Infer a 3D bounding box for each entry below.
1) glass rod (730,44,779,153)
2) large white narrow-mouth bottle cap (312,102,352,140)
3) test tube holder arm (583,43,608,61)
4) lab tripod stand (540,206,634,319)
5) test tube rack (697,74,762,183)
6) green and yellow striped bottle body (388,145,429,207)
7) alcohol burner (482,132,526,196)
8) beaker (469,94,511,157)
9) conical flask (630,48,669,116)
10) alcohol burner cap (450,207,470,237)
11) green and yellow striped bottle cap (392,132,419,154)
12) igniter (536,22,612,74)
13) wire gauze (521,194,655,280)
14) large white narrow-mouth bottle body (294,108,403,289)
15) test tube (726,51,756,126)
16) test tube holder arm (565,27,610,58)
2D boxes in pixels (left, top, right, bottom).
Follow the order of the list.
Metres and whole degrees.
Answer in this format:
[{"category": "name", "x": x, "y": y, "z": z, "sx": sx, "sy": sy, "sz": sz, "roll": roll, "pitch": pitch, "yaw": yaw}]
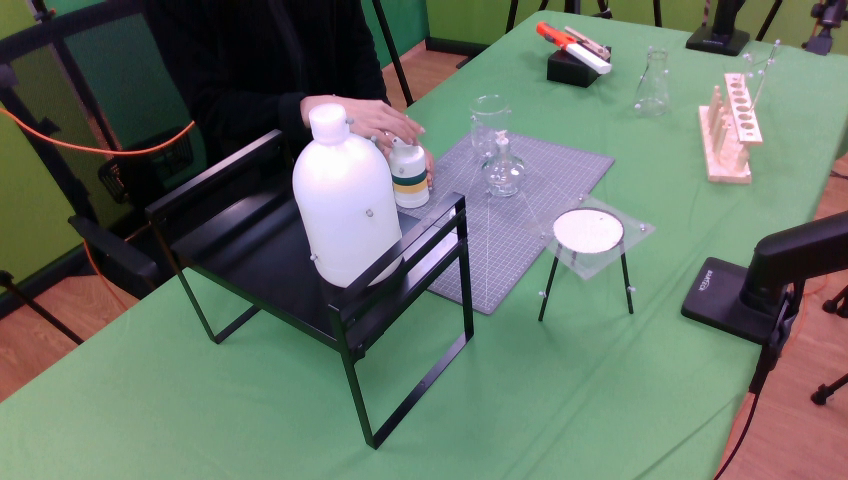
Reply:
[{"category": "glass rod", "x": 0.555, "y": -0.233, "z": 1.020, "sx": 0.008, "sy": 0.200, "sz": 0.008, "roll": 2, "pitch": 40, "yaw": -1}, {"category": "large white narrow-mouth bottle cap", "x": -0.088, "y": -0.114, "z": 0.579, "sx": 0.038, "sy": 0.024, "sz": 0.037, "roll": -3, "pitch": 39, "yaw": 3}, {"category": "test tube holder arm", "x": 0.379, "y": -0.420, "z": 1.341, "sx": 0.010, "sy": 0.015, "sz": 0.087, "roll": -39, "pitch": 41, "yaw": 10}, {"category": "lab tripod stand", "x": 0.218, "y": 0.034, "z": 0.821, "sx": 0.148, "sy": 0.132, "sz": 0.147, "roll": -4, "pitch": 42, "yaw": 4}, {"category": "test tube rack", "x": 0.547, "y": -0.208, "z": 1.095, "sx": 0.066, "sy": 0.085, "sz": 0.242, "roll": 5, "pitch": 42, "yaw": 15}, {"category": "green and yellow striped bottle body", "x": -0.027, "y": -0.121, "z": 1.041, "sx": 0.063, "sy": 0.120, "sz": 0.063, "roll": -4, "pitch": 41, "yaw": 4}, {"category": "alcohol burner", "x": 0.137, "y": -0.136, "z": 1.042, "sx": 0.078, "sy": 0.119, "sz": 0.077, "roll": -4, "pitch": 43, "yaw": 4}, {"category": "beaker", "x": 0.124, "y": -0.216, "z": 1.148, "sx": 0.074, "sy": 0.101, "sz": 0.083, "roll": -21, "pitch": 42, "yaw": -16}, {"category": "conical flask", "x": 0.456, "y": -0.317, "z": 1.205, "sx": 0.075, "sy": 0.122, "sz": 0.075, "roll": -4, "pitch": 41, "yaw": 4}, {"category": "alcohol burner cap", "x": 0.057, "y": -0.032, "z": 0.987, "sx": 0.034, "sy": 0.048, "sz": 0.033, "roll": -5, "pitch": 41, "yaw": 5}, {"category": "green and yellow striped bottle cap", "x": -0.031, "y": -0.161, "z": 1.009, "sx": 0.045, "sy": 0.020, "sz": 0.045, "roll": -5, "pitch": 42, "yaw": 5}, {"category": "igniter", "x": 0.330, "y": -0.439, "z": 1.366, "sx": 0.057, "sy": 0.025, "sz": 0.274, "roll": -11, "pitch": 41, "yaw": -20}, {"category": "wire gauze", "x": 0.207, "y": -0.012, "z": 0.772, "sx": 0.122, "sy": 0.011, "sz": 0.124, "roll": -28, "pitch": 44, "yaw": -20}, {"category": "large white narrow-mouth bottle body", "x": -0.082, "y": -0.047, "z": 0.634, "sx": 0.102, "sy": 0.195, "sz": 0.101, "roll": -4, "pitch": 39, "yaw": 4}, {"category": "test tube", "x": 0.568, "y": -0.268, "z": 1.086, "sx": 0.017, "sy": 0.151, "sz": 0.017, "roll": -4, "pitch": 46, "yaw": 4}, {"category": "test tube holder arm", "x": 0.369, "y": -0.450, "z": 1.373, "sx": 0.013, "sy": 0.015, "sz": 0.177, "roll": -39, "pitch": 41, "yaw": 10}]
